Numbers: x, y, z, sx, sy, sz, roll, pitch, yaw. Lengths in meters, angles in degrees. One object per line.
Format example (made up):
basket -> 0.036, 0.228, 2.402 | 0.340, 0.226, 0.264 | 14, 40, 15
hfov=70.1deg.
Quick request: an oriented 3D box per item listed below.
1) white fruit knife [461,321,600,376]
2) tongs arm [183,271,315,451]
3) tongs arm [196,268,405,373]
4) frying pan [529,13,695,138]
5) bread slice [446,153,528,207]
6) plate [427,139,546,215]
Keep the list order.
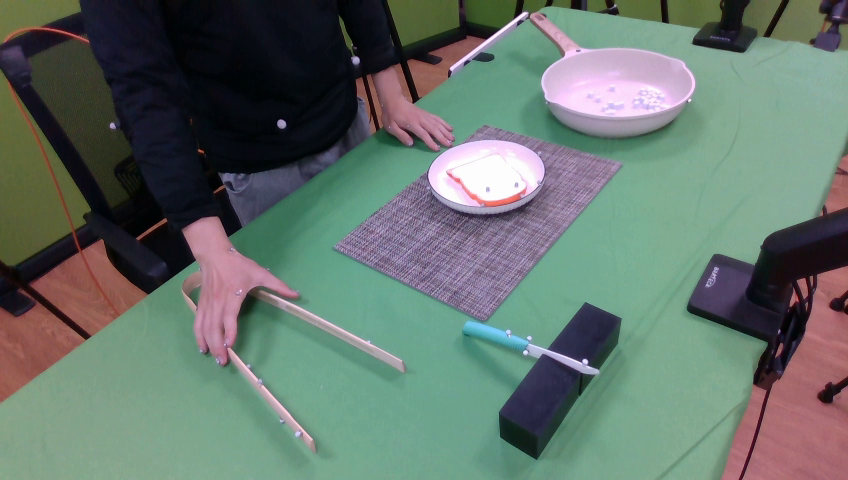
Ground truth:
white fruit knife -> 0.126, 0.133, 0.752 | 0.205, 0.027, 0.016 | 13, 44, 42
tongs arm -> -0.241, 0.148, 0.820 | 0.051, 0.026, 0.381 | -34, 46, -29
tongs arm -> -0.187, 0.108, 0.865 | 0.385, 0.028, 0.028 | 20, 50, 28
frying pan -> 0.348, -0.368, 1.282 | 0.308, 0.103, 0.484 | -16, 50, -12
bread slice -> 0.117, -0.104, 1.057 | 0.107, 0.018, 0.133 | -24, 42, -18
plate -> 0.109, -0.107, 1.058 | 0.207, 0.039, 0.206 | -4, 41, 4
